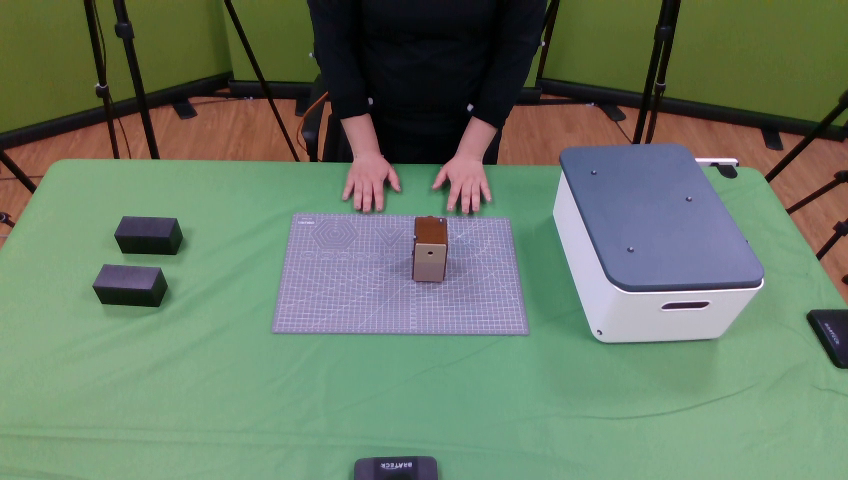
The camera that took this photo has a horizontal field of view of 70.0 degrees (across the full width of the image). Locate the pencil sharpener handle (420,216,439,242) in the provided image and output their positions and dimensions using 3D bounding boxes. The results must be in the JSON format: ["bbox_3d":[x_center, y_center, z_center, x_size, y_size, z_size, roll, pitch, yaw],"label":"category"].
[{"bbox_3d":[0.008,-0.027,1.145,0.036,0.068,0.030,6,45,-6],"label":"pencil sharpener handle"}]

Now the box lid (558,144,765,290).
[{"bbox_3d":[0.403,-0.054,1.073,0.263,0.015,0.369,-2,45,-5],"label":"box lid"}]

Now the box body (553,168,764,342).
[{"bbox_3d":[0.403,0.006,1.125,0.254,0.161,0.361,-2,46,-5],"label":"box body"}]

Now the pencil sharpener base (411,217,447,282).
[{"bbox_3d":[0.009,0.017,1.118,0.061,0.107,0.076,1,45,-2],"label":"pencil sharpener base"}]
